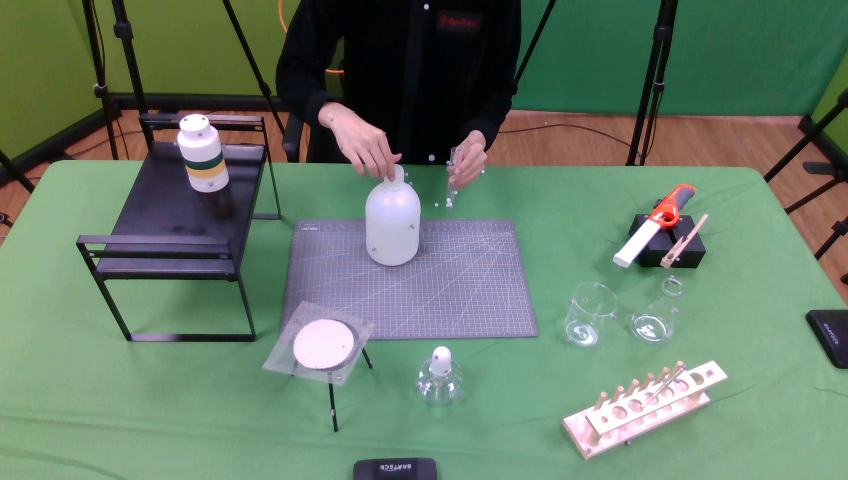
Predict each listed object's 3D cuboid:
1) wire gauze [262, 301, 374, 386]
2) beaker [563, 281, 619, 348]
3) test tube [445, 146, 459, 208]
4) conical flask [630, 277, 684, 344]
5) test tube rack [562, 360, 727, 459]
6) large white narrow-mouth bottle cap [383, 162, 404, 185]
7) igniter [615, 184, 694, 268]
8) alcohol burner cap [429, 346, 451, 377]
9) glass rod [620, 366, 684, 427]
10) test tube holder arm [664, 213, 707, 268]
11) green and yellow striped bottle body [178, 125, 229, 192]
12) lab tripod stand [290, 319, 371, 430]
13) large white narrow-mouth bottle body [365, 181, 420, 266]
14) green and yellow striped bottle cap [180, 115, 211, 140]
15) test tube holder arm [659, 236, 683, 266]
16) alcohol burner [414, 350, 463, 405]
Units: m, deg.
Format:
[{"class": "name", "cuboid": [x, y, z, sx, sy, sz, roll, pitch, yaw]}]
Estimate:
[{"class": "wire gauze", "cuboid": [-0.150, 0.148, 0.873, 0.121, 0.011, 0.124, 14, 46, 12]}, {"class": "beaker", "cuboid": [0.283, 0.129, 1.041, 0.074, 0.101, 0.083, 11, 46, 7]}, {"class": "test tube", "cuboid": [0.050, -0.112, 1.110, 0.017, 0.151, 0.017, 2, 52, -2]}, {"class": "conical flask", "cuboid": [0.408, 0.117, 1.045, 0.075, 0.122, 0.075, 2, 46, -2]}, {"class": "test tube rack", "cuboid": [0.341, 0.247, 0.940, 0.243, 0.085, 0.066, -16, 49, -18]}, {"class": "large white narrow-mouth bottle cap", "cuboid": [-0.052, -0.115, 1.050, 0.038, 0.024, 0.037, 2, 45, -2]}, {"class": "igniter", "cuboid": [0.459, -0.035, 1.197, 0.057, 0.025, 0.276, 32, 55, 27]}, {"class": "alcohol burner cap", "cuboid": [0.026, 0.180, 0.912, 0.034, 0.048, 0.033, 1, 47, -1]}, {"class": "glass rod", "cuboid": [0.323, 0.227, 0.866, 0.008, 0.200, 0.008, 5, 51, -7]}, {"class": "test tube holder arm", "cuboid": [0.507, -0.001, 1.171, 0.013, 0.015, 0.178, 34, 54, 26]}, {"class": "green and yellow striped bottle body", "cuboid": [-0.361, -0.142, 0.989, 0.063, 0.120, 0.063, 2, 46, -2]}, {"class": "lab tripod stand", "cuboid": [-0.146, 0.193, 0.923, 0.148, 0.132, 0.147, 1, 47, -1]}, {"class": "large white narrow-mouth bottle body", "cuboid": [-0.058, -0.048, 1.117, 0.102, 0.195, 0.101, 2, 45, -2]}, {"class": "green and yellow striped bottle cap", "cuboid": [-0.358, -0.177, 0.951, 0.045, 0.020, 0.045, 2, 45, -2]}, {"class": "test tube holder arm", "cuboid": [0.472, 0.020, 1.149, 0.010, 0.015, 0.088, 35, 54, 27]}, {"class": "alcohol burner", "cuboid": [0.023, 0.205, 0.939, 0.078, 0.120, 0.077, 1, 48, -1]}]
